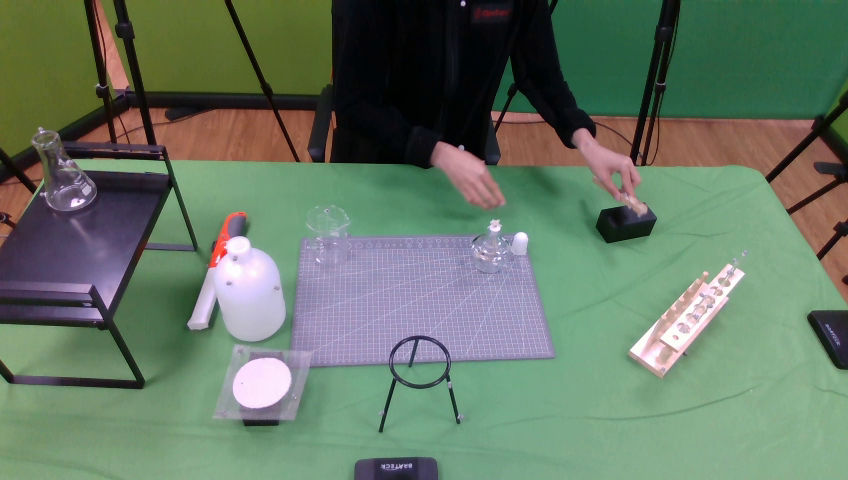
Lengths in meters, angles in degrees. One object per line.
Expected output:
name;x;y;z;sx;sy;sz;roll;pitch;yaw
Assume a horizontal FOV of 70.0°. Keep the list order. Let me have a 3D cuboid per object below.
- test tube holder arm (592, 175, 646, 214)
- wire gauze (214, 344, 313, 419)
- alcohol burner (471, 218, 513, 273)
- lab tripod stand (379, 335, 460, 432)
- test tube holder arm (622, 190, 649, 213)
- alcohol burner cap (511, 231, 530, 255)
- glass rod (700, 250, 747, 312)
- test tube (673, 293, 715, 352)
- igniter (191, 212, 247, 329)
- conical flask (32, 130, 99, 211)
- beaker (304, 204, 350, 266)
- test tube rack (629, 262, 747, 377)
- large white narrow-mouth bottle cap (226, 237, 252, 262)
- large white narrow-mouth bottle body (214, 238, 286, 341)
test tube holder arm;0.391;-0.095;1.227;0.013;0.015;0.177;-5;28;-19
wire gauze;-0.241;0.213;0.916;0.121;0.011;0.124;5;46;1
alcohol burner;0.128;0.005;1.132;0.078;0.120;0.077;1;47;0
lab tripod stand;-0.011;0.214;0.911;0.148;0.132;0.147;1;45;0
test tube holder arm;0.411;-0.076;1.191;0.010;0.015;0.087;-4;28;-18
alcohol burner cap;0.191;0.003;1.188;0.034;0.048;0.033;2;46;-2
glass rod;0.500;0.075;1.021;0.008;0.201;0.008;0;54;1
test tube;0.429;0.137;0.979;0.017;0.151;0.017;5;46;-5
igniter;-0.376;0.047;1.121;0.057;0.025;0.275;-4;46;6
conical flask;-0.565;-0.111;0.944;0.075;0.122;0.075;2;46;-2
beaker;-0.178;-0.006;1.132;0.084;0.101;0.073;4;46;-1
test tube rack;0.464;0.126;1.061;0.242;0.085;0.066;-34;56;-31
large white narrow-mouth bottle cap;-0.282;0.014;0.923;0.038;0.024;0.037;2;46;-2
large white narrow-mouth bottle body;-0.285;0.073;0.986;0.102;0.195;0.101;2;46;-2
